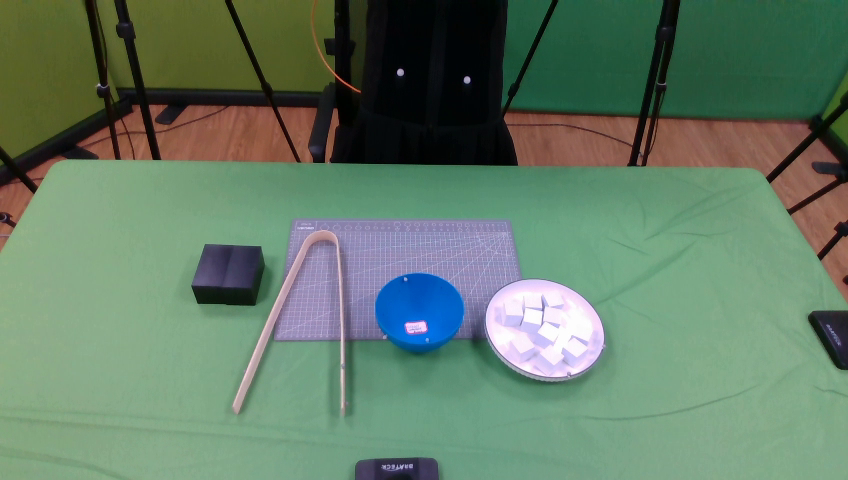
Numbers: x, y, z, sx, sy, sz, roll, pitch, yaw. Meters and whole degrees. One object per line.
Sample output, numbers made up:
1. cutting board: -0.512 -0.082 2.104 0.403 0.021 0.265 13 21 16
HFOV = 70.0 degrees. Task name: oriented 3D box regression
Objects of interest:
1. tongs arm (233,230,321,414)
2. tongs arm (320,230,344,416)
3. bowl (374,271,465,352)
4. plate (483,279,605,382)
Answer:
1. tongs arm: -0.250 0.124 1.054 0.028 0.028 0.385 5 46 10
2. tongs arm: -0.163 0.126 1.054 0.051 0.026 0.382 -4 47 -2
3. bowl: -0.009 0.136 1.024 0.151 0.077 0.150 2 47 -2
4. plate: 0.204 0.158 1.046 0.208 0.039 0.206 3 47 -3
